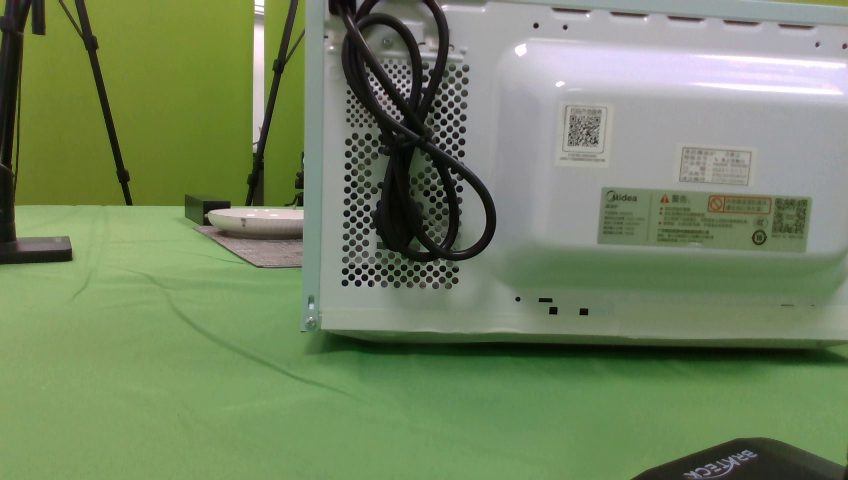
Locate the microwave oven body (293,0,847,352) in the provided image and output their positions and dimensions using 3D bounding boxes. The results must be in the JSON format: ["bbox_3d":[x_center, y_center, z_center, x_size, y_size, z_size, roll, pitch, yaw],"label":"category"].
[{"bbox_3d":[0.122,-0.055,0.550,0.442,0.260,0.325,3,7,-5],"label":"microwave oven body"}]

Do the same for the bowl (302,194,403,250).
[{"bbox_3d":[-0.106,-0.024,0.900,0.151,0.076,0.151,0,-1,0],"label":"bowl"}]

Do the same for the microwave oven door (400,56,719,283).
[{"bbox_3d":[0.155,-0.077,0.698,0.356,0.243,0.039,2,8,-5],"label":"microwave oven door"}]

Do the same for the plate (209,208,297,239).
[{"bbox_3d":[-0.271,-0.029,1.074,0.208,0.039,0.207,3,7,0],"label":"plate"}]

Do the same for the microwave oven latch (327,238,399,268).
[{"bbox_3d":[-0.069,0.015,0.694,0.079,0.029,0.030,3,7,-3],"label":"microwave oven latch"}]
